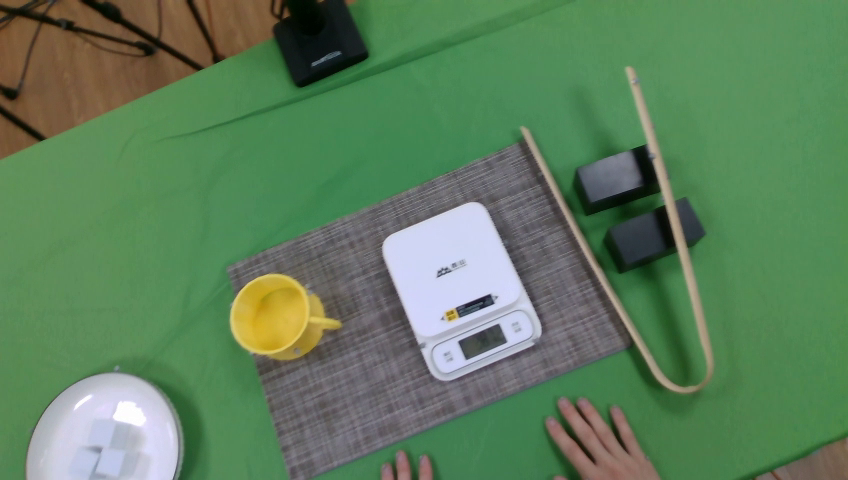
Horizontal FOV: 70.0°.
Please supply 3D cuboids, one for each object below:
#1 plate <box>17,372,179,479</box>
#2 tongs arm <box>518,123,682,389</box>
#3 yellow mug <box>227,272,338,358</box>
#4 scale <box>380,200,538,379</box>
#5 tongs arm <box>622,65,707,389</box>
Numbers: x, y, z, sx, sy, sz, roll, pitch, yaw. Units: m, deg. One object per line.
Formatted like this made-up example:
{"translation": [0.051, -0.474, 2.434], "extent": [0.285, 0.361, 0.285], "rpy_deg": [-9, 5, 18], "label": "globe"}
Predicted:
{"translation": [-0.404, 0.273, 0.764], "extent": [0.207, 0.039, 0.206], "rpy_deg": [-2, 74, 7], "label": "plate"}
{"translation": [0.209, 0.010, 0.758], "extent": [0.028, 0.028, 0.384], "rpy_deg": [-33, 71, 23], "label": "tongs arm"}
{"translation": [-0.172, 0.098, 0.763], "extent": [0.130, 0.064, 0.099], "rpy_deg": [5, 75, 8], "label": "yellow mug"}
{"translation": [0.041, 0.059, 0.764], "extent": [0.148, 0.032, 0.199], "rpy_deg": [-23, 73, 1], "label": "scale"}
{"translation": [0.272, -0.021, 0.716], "extent": [0.050, 0.027, 0.383], "rpy_deg": [-19, 78, 30], "label": "tongs arm"}
